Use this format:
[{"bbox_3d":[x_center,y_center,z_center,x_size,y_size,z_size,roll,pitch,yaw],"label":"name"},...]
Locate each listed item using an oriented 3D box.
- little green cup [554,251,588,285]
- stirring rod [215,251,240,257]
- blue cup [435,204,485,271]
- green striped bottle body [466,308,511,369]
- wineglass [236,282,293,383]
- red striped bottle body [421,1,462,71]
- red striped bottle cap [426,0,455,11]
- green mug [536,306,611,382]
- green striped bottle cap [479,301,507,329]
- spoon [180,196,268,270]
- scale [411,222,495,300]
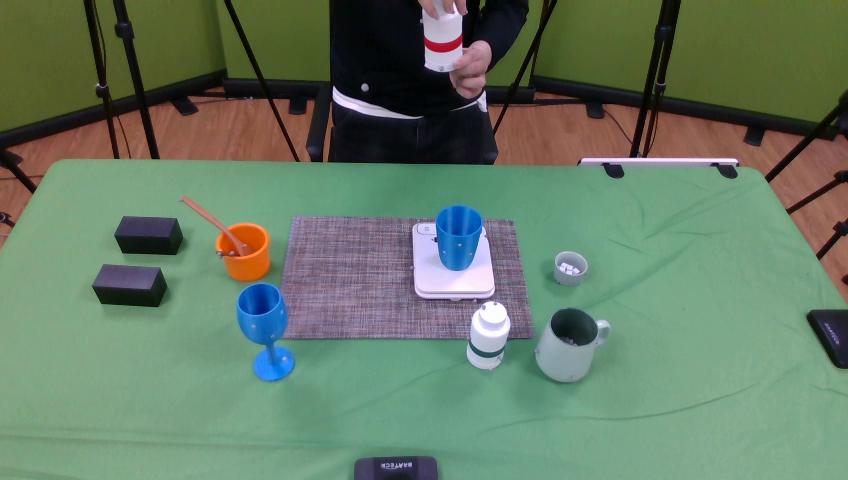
[{"bbox_3d":[0.277,0.055,1.151,0.061,0.039,0.061,1,46,-1],"label":"little green cup"},{"bbox_3d":[-0.339,0.025,1.059,0.014,0.176,0.006,16,86,-6],"label":"stirring rod"},{"bbox_3d":[0.061,0.001,1.097,0.092,0.101,0.092,0,44,0],"label":"blue cup"},{"bbox_3d":[0.106,0.153,0.988,0.063,0.120,0.063,2,46,-2],"label":"green striped bottle body"},{"bbox_3d":[-0.243,0.143,0.934,0.074,0.173,0.073,2,46,-2],"label":"wineglass"},{"bbox_3d":[0.029,-0.336,0.967,0.063,0.120,0.062,-2,52,3],"label":"red striped bottle body"},{"bbox_3d":[0.026,-0.369,0.924,0.044,0.018,0.044,0,51,0],"label":"red striped bottle cap"},{"bbox_3d":[0.250,0.167,0.996,0.125,0.105,0.092,-15,49,-19],"label":"green mug"},{"bbox_3d":[0.109,0.117,0.950,0.044,0.020,0.044,2,47,-2],"label":"green striped bottle cap"},{"bbox_3d":[-0.360,-0.014,1.094,0.021,0.194,0.041,-27,26,31],"label":"spoon"},{"bbox_3d":[0.052,0.031,1.158,0.149,0.032,0.199,1,46,-4],"label":"scale"}]
